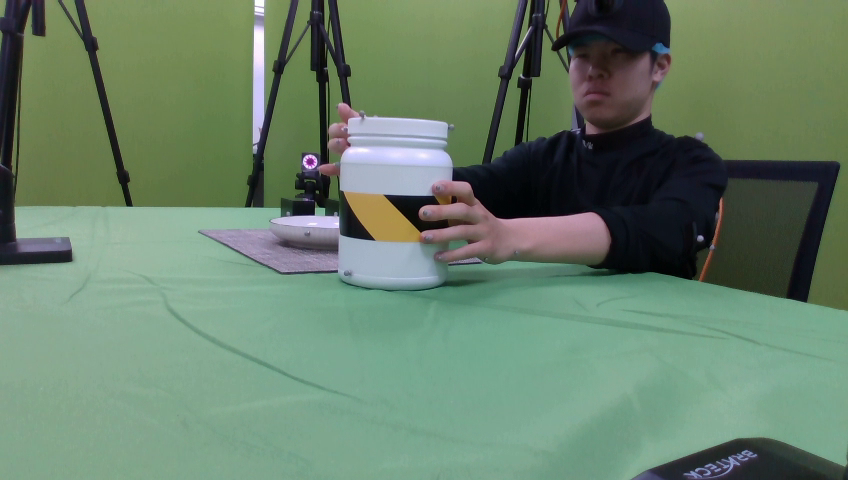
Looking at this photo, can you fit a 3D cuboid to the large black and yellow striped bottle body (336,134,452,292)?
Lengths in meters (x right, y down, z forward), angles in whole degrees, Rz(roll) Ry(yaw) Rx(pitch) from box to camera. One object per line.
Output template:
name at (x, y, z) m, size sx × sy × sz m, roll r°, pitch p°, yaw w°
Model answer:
large black and yellow striped bottle body at (-0.035, -0.041, 0.703) m, size 0.131 × 0.184 × 0.130 m, roll 2°, pitch 7°, yaw 0°

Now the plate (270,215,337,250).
plate at (-0.145, -0.013, 0.991) m, size 0.208 × 0.039 × 0.207 m, roll 2°, pitch 7°, yaw 0°

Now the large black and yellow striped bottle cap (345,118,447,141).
large black and yellow striped bottle cap at (-0.032, -0.126, 0.692) m, size 0.115 × 0.019 × 0.115 m, roll 4°, pitch 9°, yaw 0°
